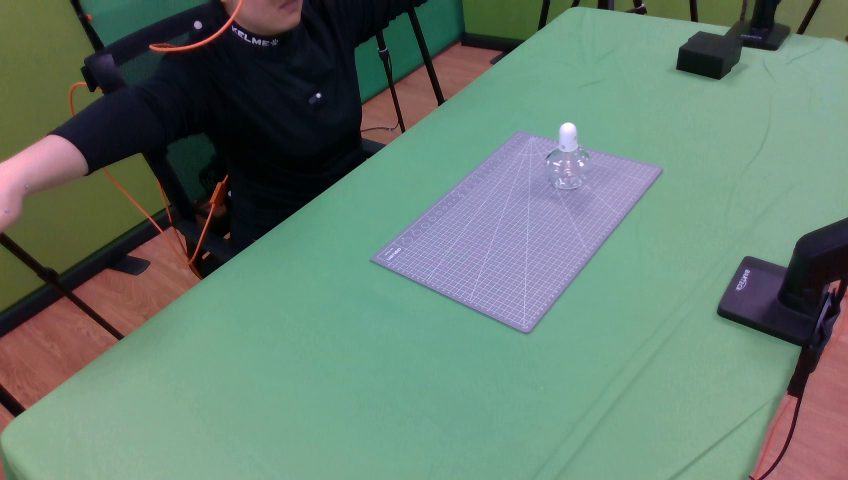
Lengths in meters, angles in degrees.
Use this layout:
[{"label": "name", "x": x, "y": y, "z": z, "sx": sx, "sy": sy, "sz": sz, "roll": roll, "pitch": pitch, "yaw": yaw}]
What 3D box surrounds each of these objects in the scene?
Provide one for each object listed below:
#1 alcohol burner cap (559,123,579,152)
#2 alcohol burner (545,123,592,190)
[{"label": "alcohol burner cap", "x": 0.241, "y": -0.173, "z": 1.010, "sx": 0.034, "sy": 0.048, "sz": 0.033, "roll": -8, "pitch": 44, "yaw": 8}, {"label": "alcohol burner", "x": 0.247, "y": -0.147, "z": 1.034, "sx": 0.078, "sy": 0.120, "sz": 0.077, "roll": -7, "pitch": 41, "yaw": 6}]
